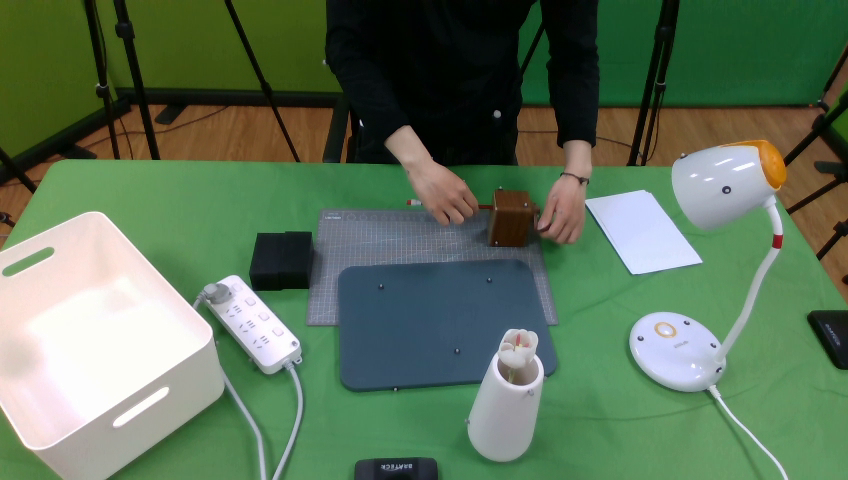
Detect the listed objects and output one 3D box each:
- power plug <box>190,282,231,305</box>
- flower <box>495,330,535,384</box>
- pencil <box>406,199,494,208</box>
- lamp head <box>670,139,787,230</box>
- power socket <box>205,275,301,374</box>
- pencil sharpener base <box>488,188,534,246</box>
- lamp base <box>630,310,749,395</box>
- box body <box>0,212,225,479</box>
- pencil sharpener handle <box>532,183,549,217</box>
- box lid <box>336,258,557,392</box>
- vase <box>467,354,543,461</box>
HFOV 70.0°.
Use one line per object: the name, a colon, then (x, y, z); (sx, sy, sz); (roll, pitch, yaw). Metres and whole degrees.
power plug: (-0.368, 0.098, 1.038); (0.072, 0.053, 0.035); (-26, 55, -20)
flower: (0.110, 0.187, 0.791); (0.044, 0.363, 0.038); (-32, 65, -10)
pencil: (0.062, -0.070, 1.169); (0.194, 0.012, 0.012); (3, 46, 0)
lamp head: (0.415, -0.078, 0.812); (0.113, 0.123, 0.112); (12, 70, -37)
power socket: (-0.296, 0.140, 1.035); (0.072, 0.033, 0.225); (-32, 57, -29)
pencil sharpener base: (0.170, -0.043, 1.189); (0.077, 0.107, 0.061); (2, 46, -2)
lamp base: (0.447, 0.143, 0.984); (0.161, 0.181, 0.178); (-24, 55, -24)
box body: (-0.504, 0.154, 0.916); (0.362, 0.161, 0.254); (36, 54, 27)
pencil sharpener handle: (0.223, -0.076, 1.167); (0.030, 0.068, 0.036); (2, 13, -2)
box lid: (0.030, 0.140, 1.073); (0.372, 0.015, 0.261); (-3, 47, -7)
vase: (0.116, 0.234, 0.861); (0.098, 0.201, 0.097); (1, 47, -1)
